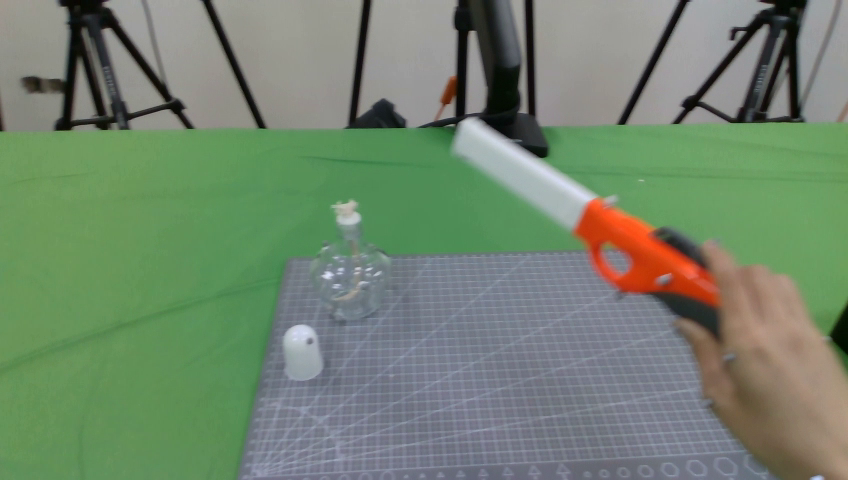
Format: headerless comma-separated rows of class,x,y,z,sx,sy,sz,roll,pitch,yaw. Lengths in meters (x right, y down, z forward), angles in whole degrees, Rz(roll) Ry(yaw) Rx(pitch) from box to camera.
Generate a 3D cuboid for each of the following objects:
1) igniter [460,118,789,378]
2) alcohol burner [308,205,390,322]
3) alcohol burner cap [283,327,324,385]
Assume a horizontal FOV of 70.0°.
igniter,0.124,-0.008,0.421,0.025,0.057,0.273,-14,45,-42
alcohol burner,-0.069,0.017,0.556,0.078,0.120,0.077,2,38,-1
alcohol burner cap,-0.103,0.094,0.510,0.034,0.048,0.033,1,36,-1
